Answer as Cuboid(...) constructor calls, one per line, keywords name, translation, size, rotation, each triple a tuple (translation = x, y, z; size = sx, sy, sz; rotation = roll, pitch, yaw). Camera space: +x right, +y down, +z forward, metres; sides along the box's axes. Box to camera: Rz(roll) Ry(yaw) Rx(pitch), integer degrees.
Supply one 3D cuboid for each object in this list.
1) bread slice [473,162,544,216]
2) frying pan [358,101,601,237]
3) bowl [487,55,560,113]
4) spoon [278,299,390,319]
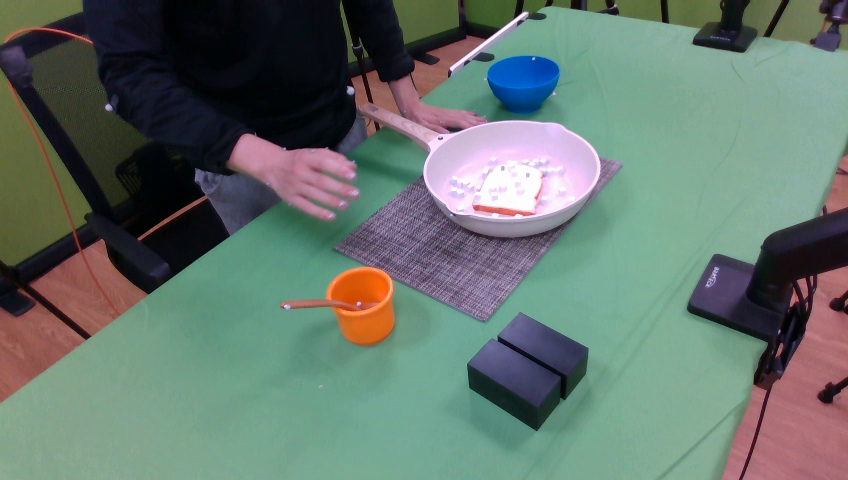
Cuboid(name="bread slice", translation=(0.150, -0.088, 1.042), size=(0.106, 0.018, 0.134), rotation=(7, 45, 16))
Cuboid(name="frying pan", translation=(0.067, -0.153, 1.067), size=(0.484, 0.103, 0.308), rotation=(32, 52, 26))
Cuboid(name="bowl", translation=(0.208, -0.319, 1.266), size=(0.151, 0.077, 0.150), rotation=(-4, 41, 4))
Cuboid(name="spoon", translation=(-0.113, 0.087, 0.787), size=(0.041, 0.021, 0.195), rotation=(30, 8, 36))
